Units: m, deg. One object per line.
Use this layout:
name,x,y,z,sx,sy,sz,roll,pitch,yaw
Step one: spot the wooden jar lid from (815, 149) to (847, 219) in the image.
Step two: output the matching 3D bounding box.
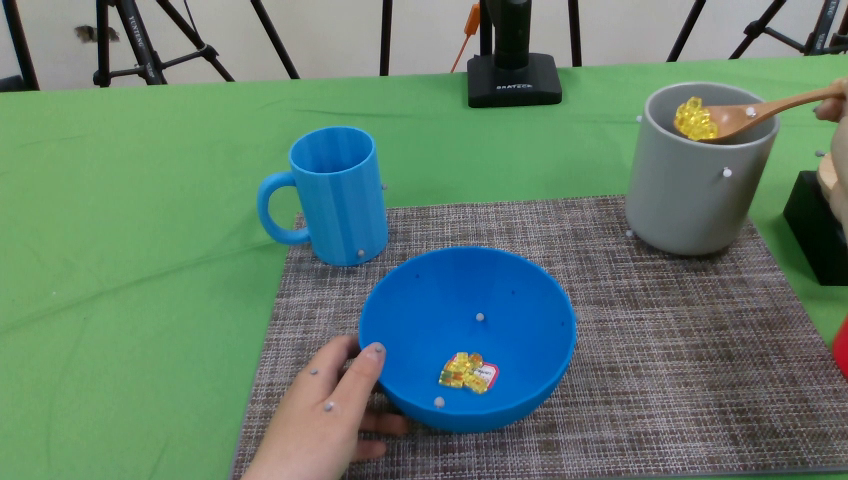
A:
wooden jar lid,0.395,-0.042,0.520,0.108,0.021,0.107,-3,42,3

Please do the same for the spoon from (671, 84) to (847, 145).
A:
spoon,0.288,-0.102,0.453,0.193,0.022,0.041,-10,43,32

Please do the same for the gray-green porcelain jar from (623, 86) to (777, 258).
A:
gray-green porcelain jar,0.238,-0.056,0.540,0.106,0.128,0.105,-3,42,3

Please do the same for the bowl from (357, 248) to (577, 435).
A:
bowl,0.031,0.084,0.441,0.151,0.077,0.150,-3,42,3

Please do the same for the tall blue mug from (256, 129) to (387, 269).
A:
tall blue mug,-0.089,-0.029,0.555,0.107,0.109,0.077,-35,51,-29
